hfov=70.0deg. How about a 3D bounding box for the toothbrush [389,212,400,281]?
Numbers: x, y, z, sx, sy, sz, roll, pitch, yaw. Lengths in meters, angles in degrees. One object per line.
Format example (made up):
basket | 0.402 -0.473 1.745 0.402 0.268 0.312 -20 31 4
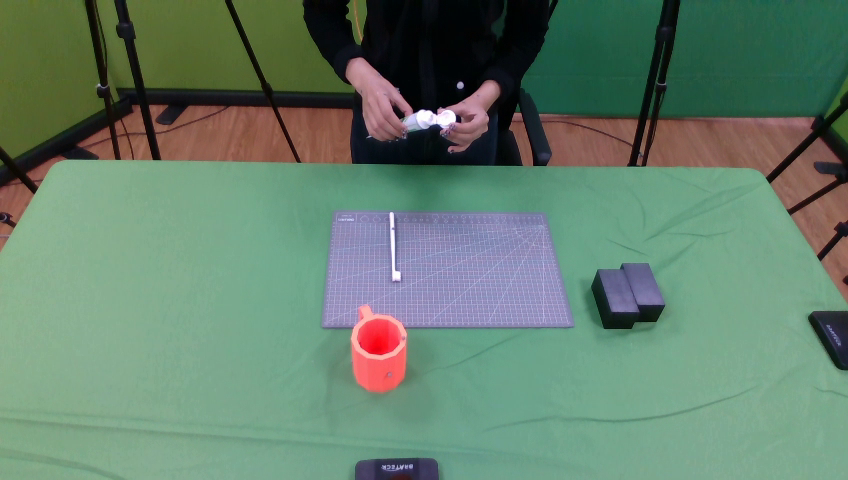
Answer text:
toothbrush | -0.059 0.010 1.186 0.017 0.014 0.180 2 46 -8

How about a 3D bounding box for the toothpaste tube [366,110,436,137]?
toothpaste tube | -0.040 -0.219 1.155 0.164 0.034 0.055 -4 14 45

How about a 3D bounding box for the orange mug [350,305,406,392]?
orange mug | -0.080 0.168 0.978 0.083 0.101 0.125 -16 54 -18

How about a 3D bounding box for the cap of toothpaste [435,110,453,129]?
cap of toothpaste | 0.036 -0.221 1.107 0.037 0.011 0.037 -3 82 23
